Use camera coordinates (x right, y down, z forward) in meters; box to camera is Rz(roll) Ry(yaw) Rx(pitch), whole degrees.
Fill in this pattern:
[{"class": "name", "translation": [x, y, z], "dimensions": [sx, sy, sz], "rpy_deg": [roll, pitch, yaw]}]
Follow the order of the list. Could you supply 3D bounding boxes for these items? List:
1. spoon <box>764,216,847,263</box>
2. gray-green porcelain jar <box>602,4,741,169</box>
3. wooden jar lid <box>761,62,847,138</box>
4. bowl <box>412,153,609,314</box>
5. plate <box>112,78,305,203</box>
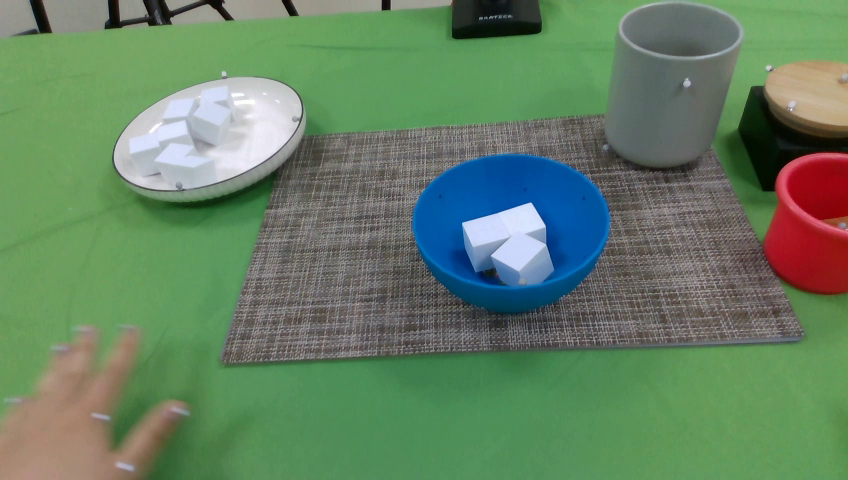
[{"class": "spoon", "translation": [0.351, -0.024, 0.442], "dimensions": [0.022, 0.193, 0.041], "rpy_deg": [39, 48, -19]}, {"class": "gray-green porcelain jar", "translation": [0.228, -0.140, 0.576], "dimensions": [0.106, 0.128, 0.105], "rpy_deg": [-4, 46, 4]}, {"class": "wooden jar lid", "translation": [0.368, -0.128, 0.557], "dimensions": [0.108, 0.021, 0.107], "rpy_deg": [-4, 46, 5]}, {"class": "bowl", "translation": [0.068, 0.007, 0.489], "dimensions": [0.151, 0.077, 0.150], "rpy_deg": [-3, 46, 4]}, {"class": "plate", "translation": [-0.231, -0.108, 0.669], "dimensions": [0.209, 0.038, 0.207], "rpy_deg": [-4, 46, 5]}]
